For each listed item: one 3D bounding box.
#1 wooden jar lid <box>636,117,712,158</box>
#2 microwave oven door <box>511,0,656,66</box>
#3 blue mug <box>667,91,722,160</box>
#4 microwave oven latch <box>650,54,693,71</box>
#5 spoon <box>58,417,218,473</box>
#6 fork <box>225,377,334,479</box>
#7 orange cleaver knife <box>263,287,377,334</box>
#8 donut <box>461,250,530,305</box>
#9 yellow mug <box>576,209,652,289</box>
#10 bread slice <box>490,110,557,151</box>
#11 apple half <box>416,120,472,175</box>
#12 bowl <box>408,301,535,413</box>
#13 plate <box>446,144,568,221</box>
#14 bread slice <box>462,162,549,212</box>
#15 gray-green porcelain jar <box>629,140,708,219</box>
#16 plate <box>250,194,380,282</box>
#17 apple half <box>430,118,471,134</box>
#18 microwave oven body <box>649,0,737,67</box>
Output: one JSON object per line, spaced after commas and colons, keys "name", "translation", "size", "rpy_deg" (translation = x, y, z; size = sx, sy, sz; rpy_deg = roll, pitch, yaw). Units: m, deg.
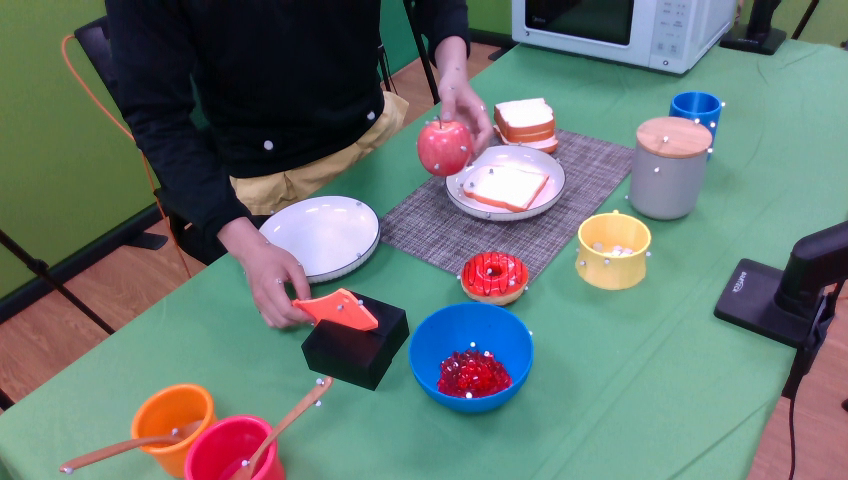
{"name": "wooden jar lid", "translation": [0.377, -0.151, 0.917], "size": [0.108, 0.021, 0.108], "rpy_deg": [-2, 41, 3]}
{"name": "microwave oven door", "translation": [0.351, -0.539, 1.348], "size": [0.353, 0.245, 0.039], "rpy_deg": [24, 50, 31]}
{"name": "blue mug", "translation": [0.474, -0.207, 1.079], "size": [0.082, 0.106, 0.116], "rpy_deg": [4, 42, 13]}
{"name": "microwave oven latch", "translation": [0.531, -0.386, 1.301], "size": [0.078, 0.029, 0.030], "rpy_deg": [26, 51, 33]}
{"name": "spoon", "translation": [-0.304, 0.221, 0.661], "size": [0.041, 0.195, 0.021], "rpy_deg": [19, 92, 27]}
{"name": "fork", "translation": [-0.163, 0.216, 0.646], "size": [0.207, 0.019, 0.028], "rpy_deg": [-49, 42, 16]}
{"name": "orange cleaver knife", "translation": [-0.145, 0.099, 0.822], "size": [0.210, 0.077, 0.012], "rpy_deg": [-8, 32, 43]}
{"name": "donut", "translation": [0.104, 0.053, 0.872], "size": [0.099, 0.048, 0.098], "rpy_deg": [-5, 40, 4]}
{"name": "yellow mug", "translation": [0.279, 0.004, 0.893], "size": [0.099, 0.064, 0.130], "rpy_deg": [5, 41, 14]}
{"name": "bread slice", "translation": [0.194, -0.204, 1.165], "size": [0.105, 0.019, 0.130], "rpy_deg": [-13, 40, -3]}
{"name": "apple half", "translation": [0.024, -0.128, 0.855], "size": [0.080, 0.075, 0.053], "rpy_deg": [11, 34, 21]}
{"name": "bowl", "translation": [0.060, 0.156, 0.739], "size": [0.151, 0.077, 0.150], "rpy_deg": [-4, 40, 4]}
{"name": "plate", "translation": [0.142, -0.096, 1.045], "size": [0.207, 0.039, 0.206], "rpy_deg": [-4, 40, 4]}
{"name": "bread slice", "translation": [0.135, -0.094, 1.045], "size": [0.133, 0.018, 0.107], "rpy_deg": [15, 44, 23]}
{"name": "gray-green porcelain jar", "translation": [0.383, -0.105, 0.958], "size": [0.106, 0.127, 0.105], "rpy_deg": [-4, 41, 4]}
{"name": "plate", "translation": [-0.174, -0.001, 0.984], "size": [0.209, 0.038, 0.208], "rpy_deg": [-3, 40, 3]}
{"name": "apple half", "translation": [0.039, -0.146, 0.886], "size": [0.081, 0.081, 0.033], "rpy_deg": [12, 34, 21]}
{"name": "microwave oven body", "translation": [0.475, -0.602, 1.411], "size": [0.438, 0.261, 0.327], "rpy_deg": [23, 50, 32]}
